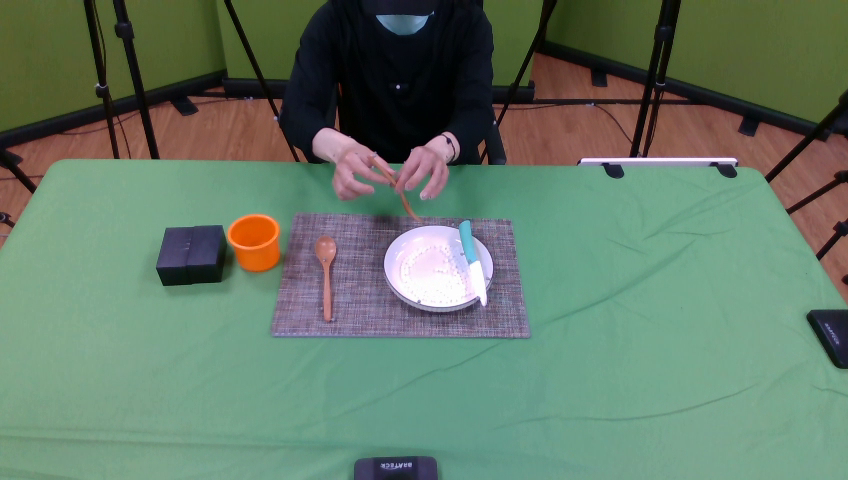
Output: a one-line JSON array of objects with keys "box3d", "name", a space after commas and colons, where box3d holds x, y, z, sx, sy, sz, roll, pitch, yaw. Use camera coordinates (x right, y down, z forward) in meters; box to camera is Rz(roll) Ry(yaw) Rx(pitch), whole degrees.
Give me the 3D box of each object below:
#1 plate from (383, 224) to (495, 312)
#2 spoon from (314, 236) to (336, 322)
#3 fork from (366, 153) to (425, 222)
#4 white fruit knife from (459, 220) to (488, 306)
[{"box3d": [0.026, 0.055, 1.128, 0.209, 0.038, 0.208, 2, 46, -2], "name": "plate"}, {"box3d": [-0.180, 0.068, 1.111, 0.042, 0.022, 0.192, 9, 43, -20], "name": "spoon"}, {"box3d": [-0.051, -0.093, 1.124, 0.018, 0.208, 0.028, -45, 45, -8], "name": "fork"}, {"box3d": [0.091, 0.039, 1.118, 0.027, 0.016, 0.206, -1, 47, -11], "name": "white fruit knife"}]
